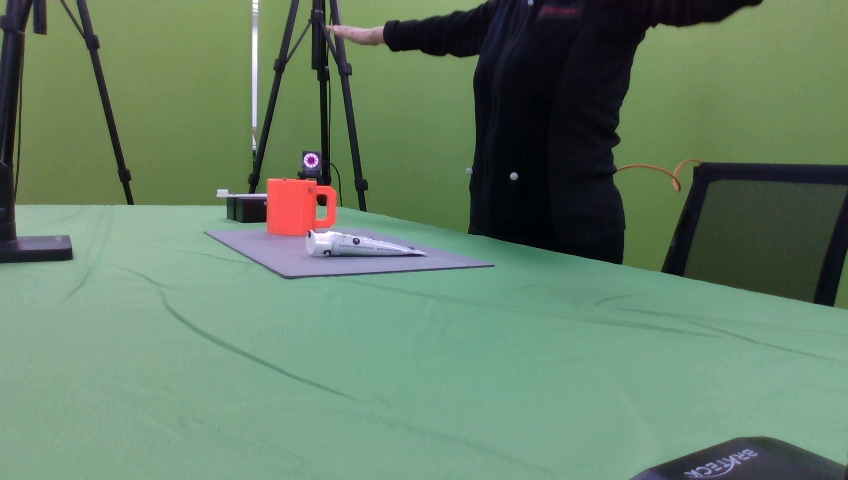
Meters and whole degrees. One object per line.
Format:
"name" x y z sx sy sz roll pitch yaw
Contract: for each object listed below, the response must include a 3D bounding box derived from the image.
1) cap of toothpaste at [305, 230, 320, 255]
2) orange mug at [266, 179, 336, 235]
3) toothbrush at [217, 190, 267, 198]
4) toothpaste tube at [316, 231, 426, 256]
"cap of toothpaste" -0.154 0.003 0.836 0.011 0.037 0.037 -3 9 -34
"orange mug" -0.222 -0.062 1.094 0.127 0.101 0.083 -5 10 -22
"toothbrush" -0.344 -0.096 1.282 0.183 0.016 0.014 -1 5 -27
"toothpaste tube" -0.080 0.009 0.870 0.166 0.034 0.055 4 11 -26
